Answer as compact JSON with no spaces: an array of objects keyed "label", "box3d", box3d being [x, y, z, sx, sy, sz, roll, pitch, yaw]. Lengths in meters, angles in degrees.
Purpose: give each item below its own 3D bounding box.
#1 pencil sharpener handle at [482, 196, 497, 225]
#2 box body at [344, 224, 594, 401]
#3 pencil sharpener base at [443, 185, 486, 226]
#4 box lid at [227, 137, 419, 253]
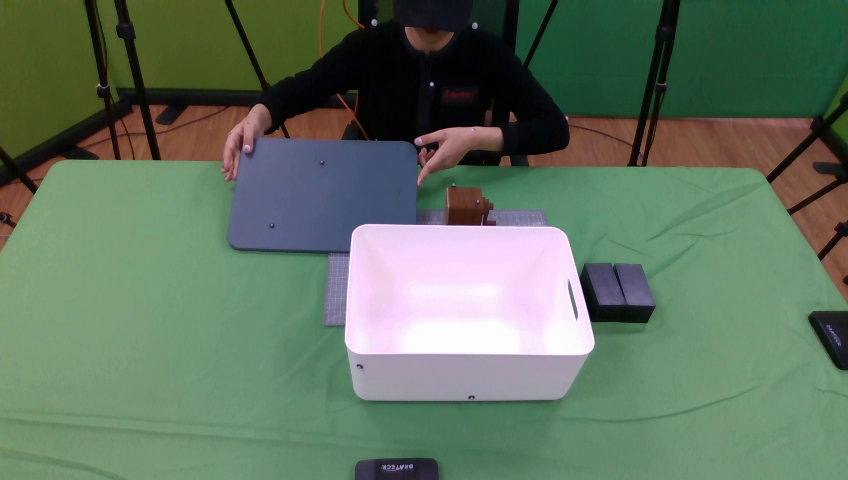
[{"label":"pencil sharpener handle","box3d":[0.130,-0.056,1.182,0.031,0.068,0.036,1,43,-3]},{"label":"box body","box3d":[0.060,0.120,0.988,0.364,0.161,0.252,1,47,-4]},{"label":"pencil sharpener base","box3d":[0.078,-0.049,1.188,0.077,0.107,0.061,1,46,-3]},{"label":"box lid","box3d":[-0.196,-0.094,1.224,0.372,0.015,0.262,1,64,-1]}]
